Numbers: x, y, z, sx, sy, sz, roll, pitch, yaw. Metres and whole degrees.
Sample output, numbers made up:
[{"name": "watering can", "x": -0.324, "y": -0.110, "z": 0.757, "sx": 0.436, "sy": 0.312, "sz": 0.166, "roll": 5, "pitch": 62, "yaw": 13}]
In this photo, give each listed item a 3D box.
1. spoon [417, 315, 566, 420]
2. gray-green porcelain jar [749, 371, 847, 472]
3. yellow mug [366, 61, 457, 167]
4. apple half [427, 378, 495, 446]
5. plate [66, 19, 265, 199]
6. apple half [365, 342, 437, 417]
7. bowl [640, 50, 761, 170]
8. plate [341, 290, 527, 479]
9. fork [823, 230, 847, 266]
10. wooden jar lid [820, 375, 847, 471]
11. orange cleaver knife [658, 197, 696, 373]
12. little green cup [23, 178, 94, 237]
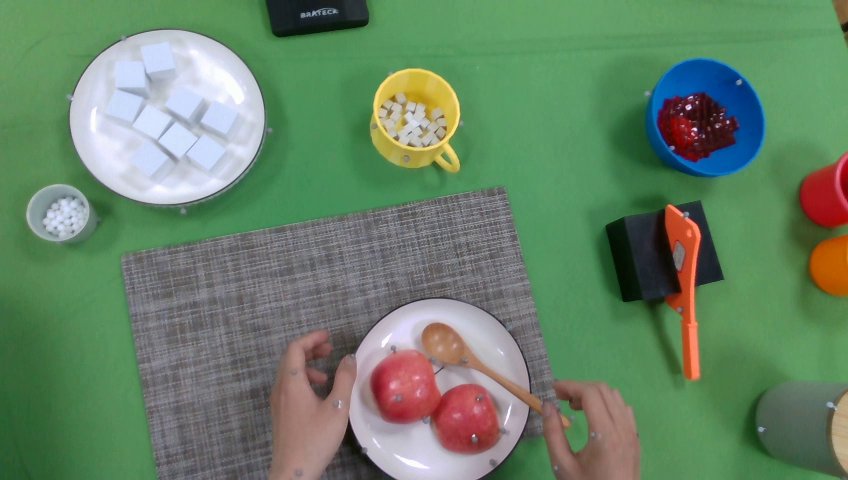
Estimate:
[{"name": "spoon", "x": 0.076, "y": 0.147, "z": 0.681, "sx": 0.193, "sy": 0.022, "sz": 0.041, "roll": 33, "pitch": 75, "yaw": 8}, {"name": "gray-green porcelain jar", "x": 0.459, "y": 0.208, "z": 0.708, "sx": 0.106, "sy": 0.126, "sz": 0.105, "roll": 2, "pitch": 80, "yaw": -9}, {"name": "yellow mug", "x": -0.006, "y": -0.139, "z": 0.715, "sx": 0.100, "sy": 0.064, "sz": 0.131, "roll": -41, "pitch": 90, "yaw": -13}, {"name": "apple half", "x": 0.043, "y": 0.194, "z": 0.675, "sx": 0.081, "sy": 0.033, "sz": 0.081, "roll": 2, "pitch": 77, "yaw": -8}, {"name": "plate", "x": -0.285, "y": -0.145, "z": 0.684, "sx": 0.208, "sy": 0.039, "sz": 0.207, "roll": 2, "pitch": 81, "yaw": -9}, {"name": "apple half", "x": -0.025, "y": 0.154, "z": 0.661, "sx": 0.075, "sy": 0.053, "sz": 0.080, "roll": -14, "pitch": 84, "yaw": -9}, {"name": "bowl", "x": 0.334, "y": -0.152, "z": 0.767, "sx": 0.152, "sy": 0.077, "sz": 0.151, "roll": 1, "pitch": 81, "yaw": -9}, {"name": "plate", "x": 0.010, "y": 0.161, "z": 0.682, "sx": 0.209, "sy": 0.038, "sz": 0.208, "roll": 1, "pitch": 81, "yaw": -9}, {"name": "fork", "x": 0.548, "y": 0.056, "z": 0.734, "sx": 0.028, "sy": 0.019, "sz": 0.205, "roll": 5, "pitch": 37, "yaw": -9}, {"name": "wooden jar lid", "x": 0.467, "y": 0.196, "z": 0.647, "sx": 0.108, "sy": 0.020, "sz": 0.108, "roll": 1, "pitch": 83, "yaw": -10}, {"name": "orange cleaver knife", "x": 0.302, "y": 0.055, "z": 0.728, "sx": 0.012, "sy": 0.076, "sz": 0.212, "roll": -10, "pitch": 106, "yaw": -7}, {"name": "little green cup", "x": -0.387, "y": -0.032, "z": 0.647, "sx": 0.062, "sy": 0.038, "sz": 0.061, "roll": 2, "pitch": 81, "yaw": -10}]
